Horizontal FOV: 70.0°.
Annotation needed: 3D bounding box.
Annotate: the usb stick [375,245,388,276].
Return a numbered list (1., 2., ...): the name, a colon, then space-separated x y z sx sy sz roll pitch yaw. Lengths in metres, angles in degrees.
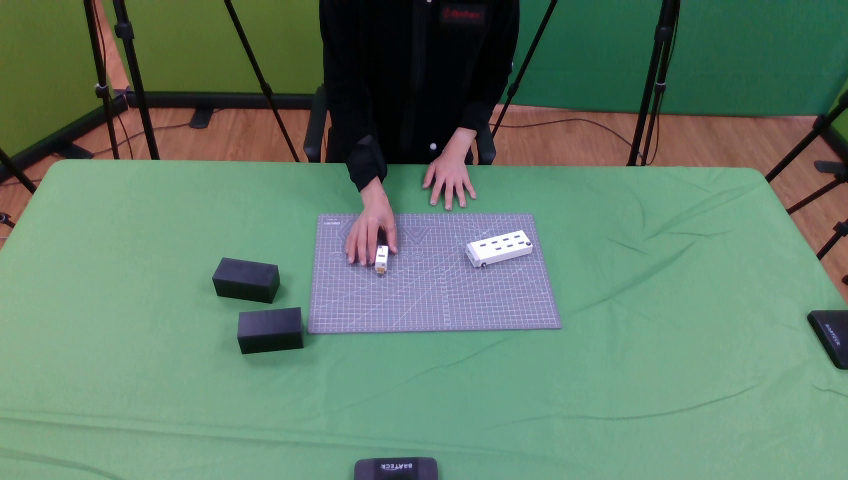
1. usb stick: -0.081 0.040 1.146 0.021 0.027 0.059 7 49 -2

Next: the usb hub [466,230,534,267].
1. usb hub: 0.148 0.017 1.185 0.125 0.025 0.049 -14 49 -16
